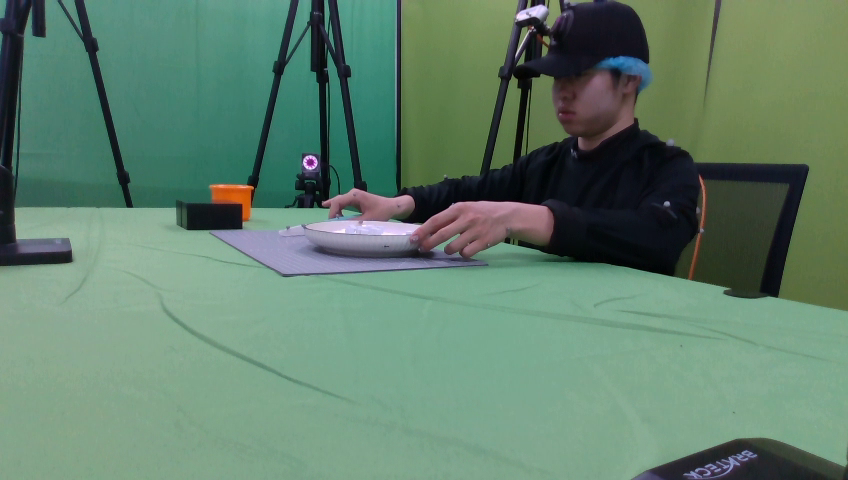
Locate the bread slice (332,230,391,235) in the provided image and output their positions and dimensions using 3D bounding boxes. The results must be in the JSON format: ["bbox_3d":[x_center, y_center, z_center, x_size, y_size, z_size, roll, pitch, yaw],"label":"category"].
[{"bbox_3d":[-0.088,0.000,0.947,0.105,0.019,0.131,-5,11,-45],"label":"bread slice"}]

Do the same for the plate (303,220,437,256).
[{"bbox_3d":[-0.084,-0.003,0.951,0.209,0.038,0.209,3,7,0],"label":"plate"}]

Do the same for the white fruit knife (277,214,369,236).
[{"bbox_3d":[-0.183,-0.027,1.133,0.208,0.027,0.016,-12,33,-44],"label":"white fruit knife"}]
